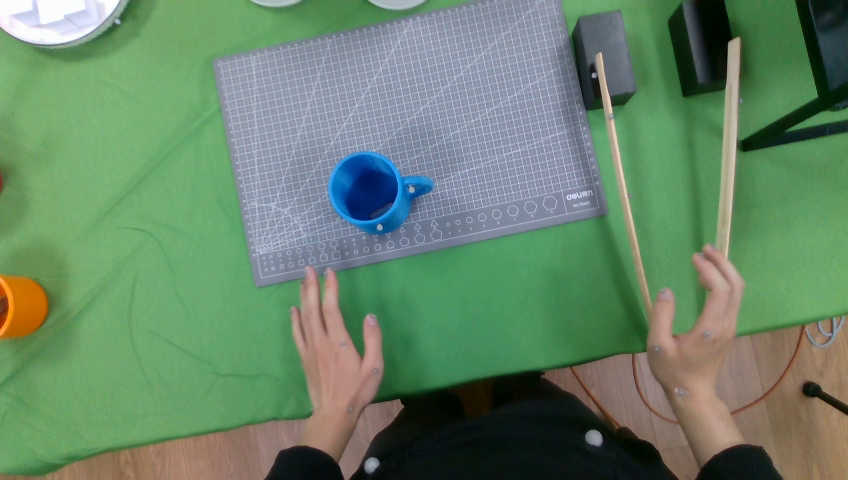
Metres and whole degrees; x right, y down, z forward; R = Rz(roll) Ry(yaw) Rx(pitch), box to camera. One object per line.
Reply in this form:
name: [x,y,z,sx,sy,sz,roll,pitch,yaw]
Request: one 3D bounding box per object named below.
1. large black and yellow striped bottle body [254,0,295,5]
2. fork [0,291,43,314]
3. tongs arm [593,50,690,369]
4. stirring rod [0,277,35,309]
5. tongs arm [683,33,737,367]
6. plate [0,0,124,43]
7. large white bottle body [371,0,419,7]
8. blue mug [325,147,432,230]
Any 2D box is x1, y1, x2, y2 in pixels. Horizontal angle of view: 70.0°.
large black and yellow striped bottle body: [-0.196,-0.373,0.698,0.131,0.184,0.130,0,85,3]
fork: [-0.565,0.068,0.705,0.209,0.018,0.028,10,83,-40]
tongs arm: [0.256,-0.033,0.711,0.051,0.026,0.385,-11,95,0]
stirring rod: [-0.535,0.101,0.707,0.014,0.006,0.175,35,46,1]
tongs arm: [0.338,-0.041,0.709,0.028,0.027,0.388,2,96,-4]
plate: [-0.472,-0.353,0.783,0.207,0.039,0.207,0,87,3]
large white bottle body: [-0.042,-0.367,0.690,0.130,0.185,0.130,0,86,3]
blue mug: [-0.048,-0.060,0.709,0.116,0.106,0.082,-11,85,2]
